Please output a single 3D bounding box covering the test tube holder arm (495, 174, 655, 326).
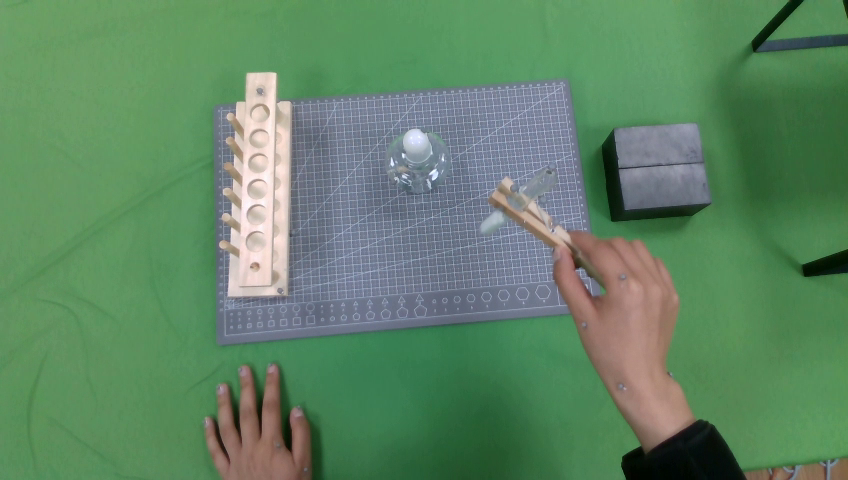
[{"bbox_3d":[0.128,0.009,0.511,0.178,0.015,0.013,42,76,-2],"label":"test tube holder arm"}]

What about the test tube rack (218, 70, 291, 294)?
[{"bbox_3d":[-0.197,-0.064,0.694,0.067,0.085,0.241,-1,78,-1],"label":"test tube rack"}]

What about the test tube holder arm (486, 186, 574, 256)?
[{"bbox_3d":[0.090,-0.015,0.508,0.088,0.015,0.010,35,75,-4],"label":"test tube holder arm"}]

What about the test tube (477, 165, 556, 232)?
[{"bbox_3d":[0.073,-0.031,0.514,0.017,0.150,0.017,3,76,-13],"label":"test tube"}]

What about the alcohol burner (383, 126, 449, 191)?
[{"bbox_3d":[-0.010,-0.099,0.690,0.078,0.119,0.077,0,79,0],"label":"alcohol burner"}]

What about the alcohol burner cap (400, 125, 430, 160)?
[{"bbox_3d":[-0.011,-0.107,0.655,0.034,0.048,0.034,0,83,1],"label":"alcohol burner cap"}]
